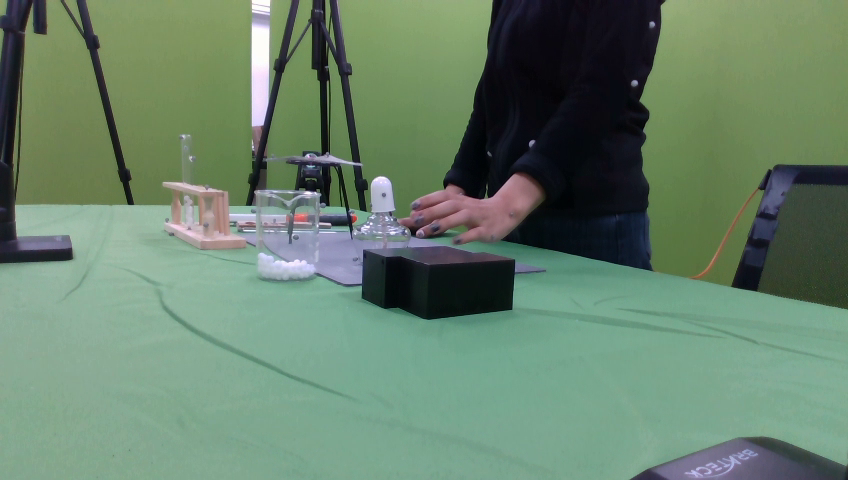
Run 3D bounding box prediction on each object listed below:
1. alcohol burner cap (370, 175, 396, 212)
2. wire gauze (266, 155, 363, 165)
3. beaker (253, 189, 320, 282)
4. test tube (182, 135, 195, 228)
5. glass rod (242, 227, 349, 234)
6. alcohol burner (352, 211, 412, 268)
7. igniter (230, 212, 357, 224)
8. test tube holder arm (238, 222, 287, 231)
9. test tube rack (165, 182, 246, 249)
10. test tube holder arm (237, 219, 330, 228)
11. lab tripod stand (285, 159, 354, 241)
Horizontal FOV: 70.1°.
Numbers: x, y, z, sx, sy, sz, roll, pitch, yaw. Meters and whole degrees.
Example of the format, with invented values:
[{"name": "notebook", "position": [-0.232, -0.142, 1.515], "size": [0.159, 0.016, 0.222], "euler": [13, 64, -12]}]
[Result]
[{"name": "alcohol burner cap", "position": [-0.055, -0.059, 0.778], "size": [0.034, 0.048, 0.034], "euler": [-7, 10, 2]}, {"name": "wire gauze", "position": [-0.185, -0.136, 1.016], "size": [0.126, 0.011, 0.121], "euler": [-4, 11, -34]}, {"name": "beaker", "position": [-0.156, -0.005, 0.689], "size": [0.074, 0.100, 0.083], "euler": [0, 8, -14]}, {"name": "test tube", "position": [-0.382, -0.095, 0.983], "size": [0.017, 0.150, 0.017], "euler": [-1, 2, 0]}, {"name": "glass rod", "position": [-0.232, -0.016, 1.110], "size": [0.201, 0.008, 0.008], "euler": [2, 6, -30]}, {"name": "alcohol burner", "position": [-0.055, -0.023, 0.784], "size": [0.078, 0.119, 0.078], "euler": [2, 9, 0]}, {"name": "igniter", "position": [-0.271, -0.044, 1.232], "size": [0.278, 0.025, 0.057], "euler": [-2, -2, -27]}, {"name": "test tube holder arm", "position": [-0.297, -0.024, 1.114], "size": [0.088, 0.015, 0.010], "euler": [-3, 46, -33]}, {"name": "test tube rack", "position": [-0.360, -0.045, 0.982], "size": [0.067, 0.085, 0.241], "euler": [-3, 9, -34]}, {"name": "test tube holder arm", "position": [-0.261, -0.030, 1.142], "size": [0.179, 0.015, 0.013], "euler": [-4, 47, -34]}, {"name": "lab tripod stand", "position": [-0.187, -0.068, 1.013], "size": [0.148, 0.131, 0.148], "euler": [4, 9, 0]}]
